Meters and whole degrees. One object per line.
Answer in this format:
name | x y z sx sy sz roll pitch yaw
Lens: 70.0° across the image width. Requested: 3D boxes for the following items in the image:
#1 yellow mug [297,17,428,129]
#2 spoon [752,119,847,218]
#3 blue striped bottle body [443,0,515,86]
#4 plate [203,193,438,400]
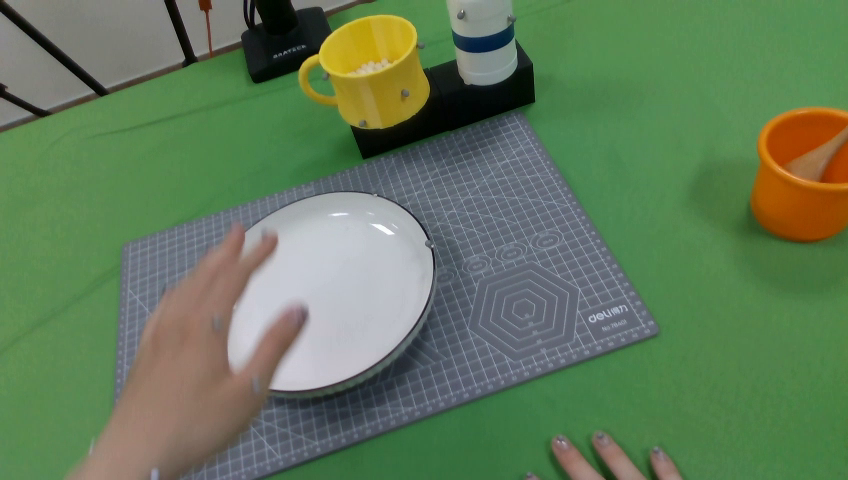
yellow mug | -0.066 -0.168 0.618 0.131 0.064 0.099 -9 50 8
spoon | 0.331 -0.094 0.467 0.194 0.022 0.041 -52 44 24
blue striped bottle body | 0.054 -0.217 0.591 0.063 0.122 0.062 -7 51 9
plate | -0.087 0.047 0.533 0.207 0.039 0.205 -7 51 9
